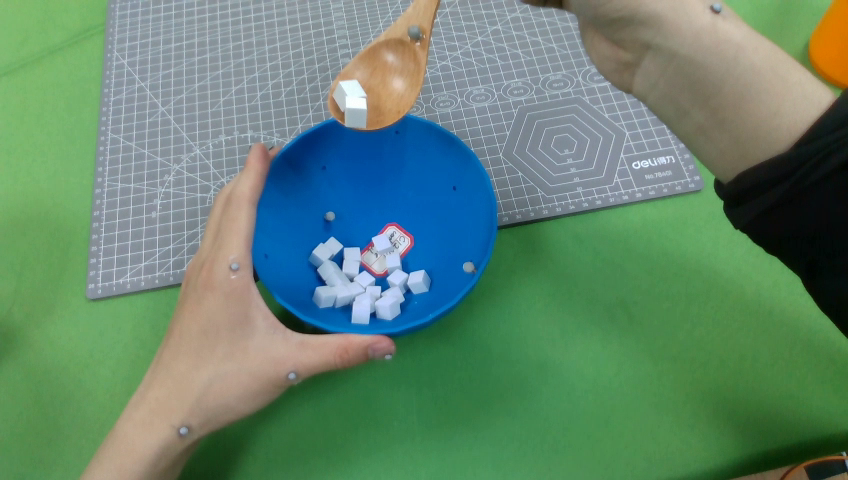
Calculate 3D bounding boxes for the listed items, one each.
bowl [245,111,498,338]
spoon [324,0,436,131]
[{"bbox_3d":[-0.030,-0.001,0.393,0.151,0.077,0.150,0,66,1],"label":"bowl"},{"bbox_3d":[0.013,-0.134,0.292,0.041,0.022,0.193,30,87,16],"label":"spoon"}]
